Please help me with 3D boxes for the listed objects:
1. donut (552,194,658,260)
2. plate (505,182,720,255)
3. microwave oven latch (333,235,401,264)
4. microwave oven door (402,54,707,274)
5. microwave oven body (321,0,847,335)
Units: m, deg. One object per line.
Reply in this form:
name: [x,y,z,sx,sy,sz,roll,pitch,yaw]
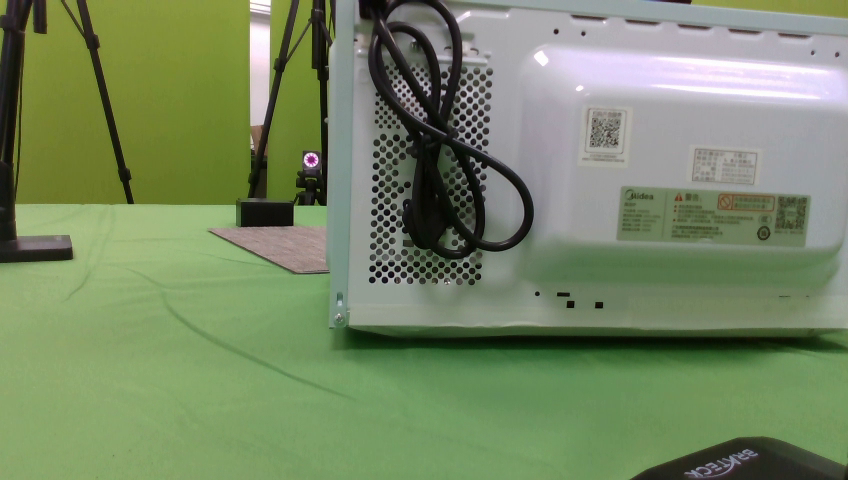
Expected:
donut: [0.171,-0.015,0.575,0.099,0.048,0.099,-11,15,3]
plate: [0.184,-0.023,0.616,0.209,0.038,0.209,5,14,-1]
microwave oven latch: [-0.065,0.011,0.700,0.079,0.029,0.030,2,6,-8]
microwave oven door: [0.157,-0.085,0.717,0.357,0.243,0.039,1,8,-8]
microwave oven body: [0.133,-0.062,0.567,0.443,0.260,0.325,2,6,-8]
